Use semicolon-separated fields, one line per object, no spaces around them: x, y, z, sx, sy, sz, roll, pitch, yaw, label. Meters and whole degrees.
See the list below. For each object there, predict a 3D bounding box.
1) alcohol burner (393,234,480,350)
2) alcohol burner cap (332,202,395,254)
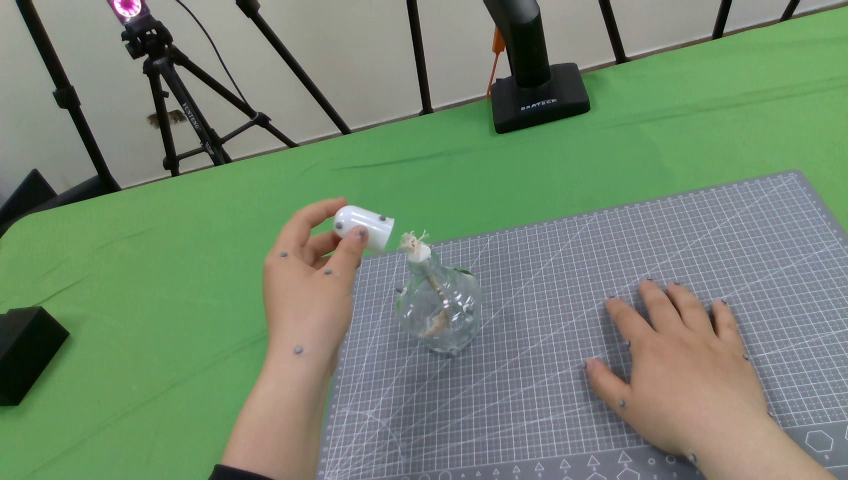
0.007;0.039;0.514;0.078;0.120;0.077;-11;41;10;alcohol burner
-0.049;-0.013;0.475;0.048;0.034;0.033;23;43;-12;alcohol burner cap
